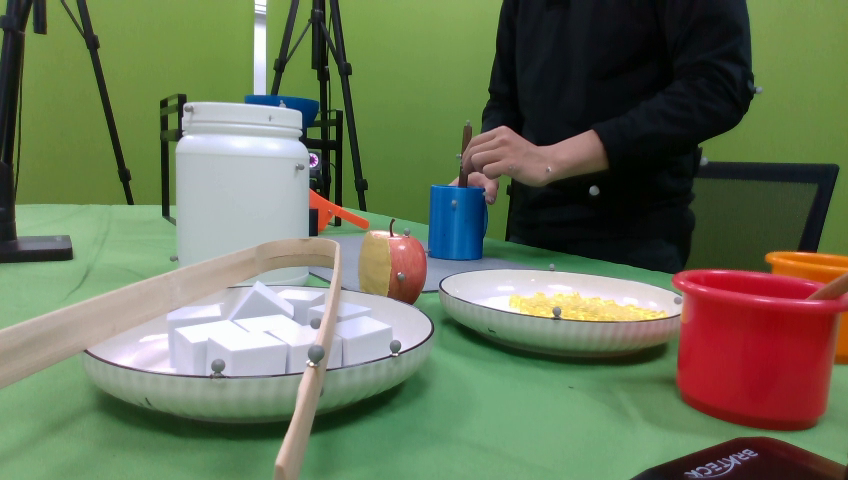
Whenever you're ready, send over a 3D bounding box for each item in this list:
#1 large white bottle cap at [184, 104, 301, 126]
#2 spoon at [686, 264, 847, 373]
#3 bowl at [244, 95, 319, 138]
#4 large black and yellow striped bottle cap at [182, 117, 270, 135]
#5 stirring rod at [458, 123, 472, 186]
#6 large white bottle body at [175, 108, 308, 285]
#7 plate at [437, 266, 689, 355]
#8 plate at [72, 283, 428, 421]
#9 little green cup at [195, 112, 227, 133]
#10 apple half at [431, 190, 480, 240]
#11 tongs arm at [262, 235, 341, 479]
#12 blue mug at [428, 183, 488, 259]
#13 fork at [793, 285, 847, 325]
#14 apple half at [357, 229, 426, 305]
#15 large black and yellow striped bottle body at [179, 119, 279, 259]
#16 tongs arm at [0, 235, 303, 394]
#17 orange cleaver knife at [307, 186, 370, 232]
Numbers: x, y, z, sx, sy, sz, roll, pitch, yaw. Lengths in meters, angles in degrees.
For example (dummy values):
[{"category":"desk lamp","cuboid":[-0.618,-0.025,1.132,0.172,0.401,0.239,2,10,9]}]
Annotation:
[{"category":"large white bottle cap","cuboid":[-0.184,-0.126,0.618,0.115,0.018,0.115,2,8,0]},{"category":"spoon","cuboid":[0.214,0.032,0.328,0.042,0.021,0.193,-3,-35,-26]},{"category":"bowl","cuboid":[-0.293,-0.251,1.249,0.151,0.077,0.151,2,7,0]},{"category":"large black and yellow striped bottle cap","cuboid":[-0.272,-0.156,0.833,0.115,0.019,0.115,1,7,0]},{"category":"stirring rod","cuboid":[0.058,-0.088,0.913,0.014,0.176,0.006,10,14,26]},{"category":"large white bottle body","cuboid":[-0.188,-0.042,0.630,0.131,0.184,0.130,2,8,0]},{"category":"plate","cuboid":[0.114,0.057,0.517,0.209,0.038,0.209,3,7,0]},{"category":"plate","cuboid":[-0.102,0.066,0.381,0.208,0.039,0.207,2,7,0]},{"category":"little green cup","cuboid":[-0.412,-0.228,1.171,0.061,0.038,0.061,3,8,0]},{"category":"apple half","cuboid":[0.046,-0.040,0.903,0.081,0.081,0.032,2,16,-4]},{"category":"tongs arm","cuboid":[-0.074,0.039,0.349,0.051,0.026,0.384,-2,10,-3]},{"category":"blue mug","cuboid":[0.059,-0.031,0.907,0.082,0.106,0.117,9,9,42]},{"category":"fork","cuboid":[0.331,0.018,0.442,0.028,0.018,0.207,-2,-36,-15]},{"category":"apple half","cuboid":[-0.026,0.028,0.570,0.053,0.074,0.080,3,2,-28]},{"category":"large black and yellow striped bottle body","cuboid":[-0.271,-0.074,0.846,0.131,0.184,0.130,0,9,0]},{"category":"tongs arm","cuboid":[-0.157,0.038,0.351,0.028,0.028,0.388,-3,8,12]},{"category":"orange cleaver knife","cuboid":[-0.197,-0.056,1.141,0.212,0.077,0.012,29,0,-34]}]
